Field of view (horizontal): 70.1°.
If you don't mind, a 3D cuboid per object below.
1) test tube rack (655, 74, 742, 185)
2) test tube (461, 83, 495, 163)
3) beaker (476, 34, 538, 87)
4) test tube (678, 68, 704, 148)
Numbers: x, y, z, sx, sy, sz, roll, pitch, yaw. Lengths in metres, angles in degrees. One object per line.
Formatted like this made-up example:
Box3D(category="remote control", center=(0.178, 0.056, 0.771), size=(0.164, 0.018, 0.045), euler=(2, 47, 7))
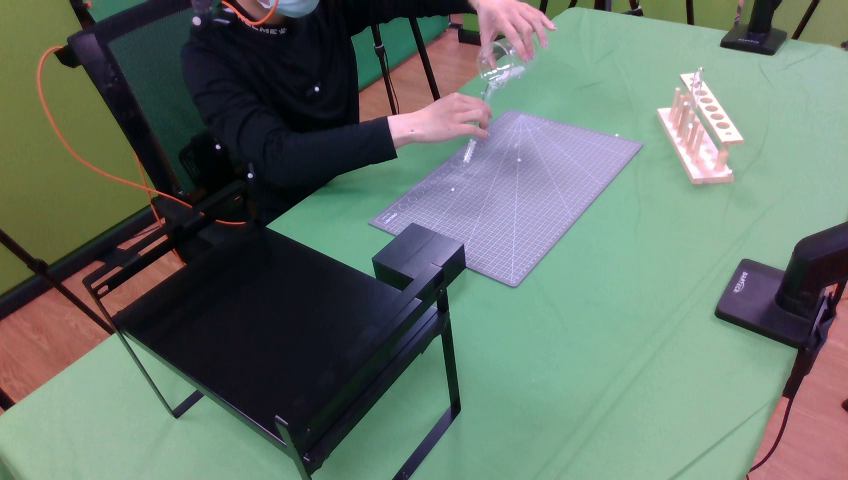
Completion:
Box3D(category="test tube rack", center=(0.488, -0.205, 1.093), size=(0.067, 0.085, 0.241), euler=(-3, 41, 5))
Box3D(category="test tube", center=(0.098, -0.211, 1.098), size=(0.017, 0.150, 0.017), euler=(18, 12, -3))
Box3D(category="beaker", center=(0.155, -0.328, 1.096), size=(0.101, 0.084, 0.073), euler=(-32, 14, -39))
Box3D(category="test tube", center=(0.465, -0.228, 1.054), size=(0.017, 0.151, 0.017), euler=(-4, 41, 4))
